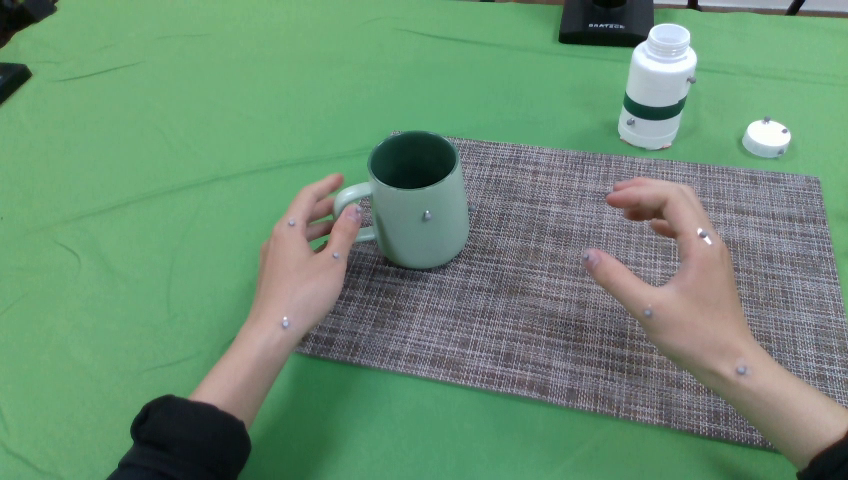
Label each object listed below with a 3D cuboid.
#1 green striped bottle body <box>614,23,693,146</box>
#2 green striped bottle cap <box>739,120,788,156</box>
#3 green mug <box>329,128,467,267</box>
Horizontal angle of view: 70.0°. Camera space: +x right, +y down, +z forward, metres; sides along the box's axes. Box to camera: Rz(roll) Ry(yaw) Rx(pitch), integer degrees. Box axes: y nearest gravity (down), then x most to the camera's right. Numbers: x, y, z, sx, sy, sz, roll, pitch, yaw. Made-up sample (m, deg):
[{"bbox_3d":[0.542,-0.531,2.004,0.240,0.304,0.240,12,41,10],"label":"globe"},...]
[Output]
[{"bbox_3d":[0.239,-0.162,0.631,0.063,0.120,0.062,-3,49,3],"label":"green striped bottle body"},{"bbox_3d":[0.360,-0.108,0.642,0.044,0.020,0.044,-2,46,3],"label":"green striped bottle cap"},{"bbox_3d":[-0.024,-0.032,0.549,0.125,0.106,0.091,-17,50,-8],"label":"green mug"}]
